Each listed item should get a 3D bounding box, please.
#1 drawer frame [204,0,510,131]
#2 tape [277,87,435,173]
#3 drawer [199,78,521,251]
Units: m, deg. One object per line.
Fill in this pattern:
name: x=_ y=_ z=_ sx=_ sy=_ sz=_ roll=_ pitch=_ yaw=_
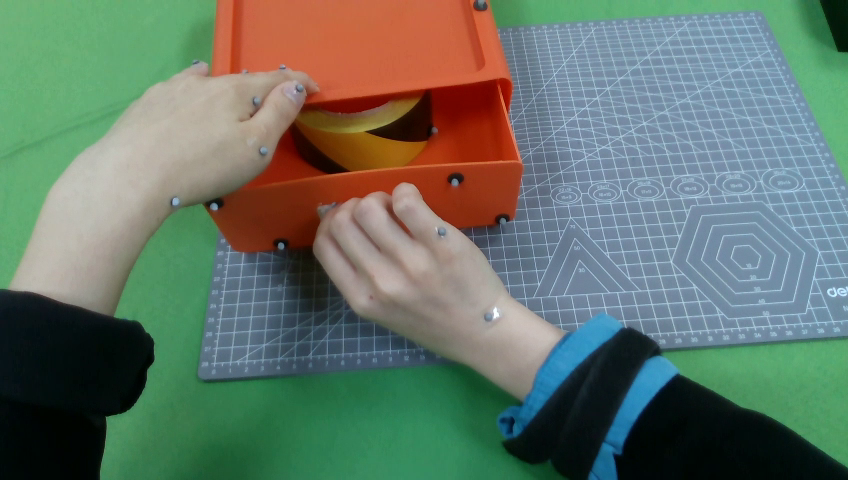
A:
drawer frame: x=-0.055 y=-0.161 z=0.468 sx=0.202 sy=0.083 sz=0.211 roll=-8 pitch=59 yaw=-2
tape: x=-0.049 y=-0.106 z=0.446 sx=0.117 sy=0.053 sz=0.116 roll=-1 pitch=60 yaw=2
drawer: x=-0.047 y=-0.104 z=0.438 sx=0.194 sy=0.074 sz=0.209 roll=-7 pitch=59 yaw=-1
